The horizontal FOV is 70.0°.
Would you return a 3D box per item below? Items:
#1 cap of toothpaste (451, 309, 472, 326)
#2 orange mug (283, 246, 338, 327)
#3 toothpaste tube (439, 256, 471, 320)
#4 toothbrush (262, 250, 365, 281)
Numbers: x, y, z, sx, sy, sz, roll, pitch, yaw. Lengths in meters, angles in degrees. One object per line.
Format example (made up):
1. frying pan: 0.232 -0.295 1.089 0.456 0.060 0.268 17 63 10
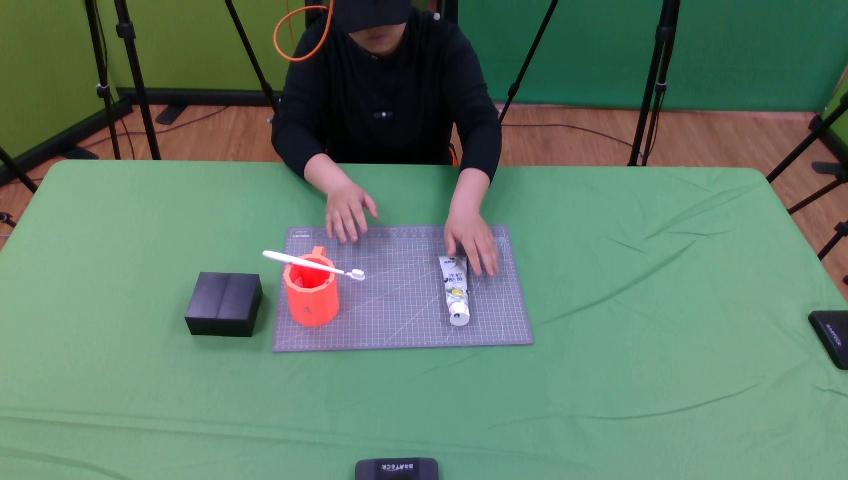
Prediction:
1. cap of toothpaste: 0.065 0.133 1.054 0.037 0.037 0.011 1 39 -2
2. orange mug: -0.193 0.073 1.056 0.083 0.101 0.125 5 50 1
3. toothpaste tube: 0.062 0.084 1.113 0.055 0.035 0.164 3 40 -8
4. toothbrush: -0.187 0.040 1.015 0.182 0.017 0.014 13 55 8
